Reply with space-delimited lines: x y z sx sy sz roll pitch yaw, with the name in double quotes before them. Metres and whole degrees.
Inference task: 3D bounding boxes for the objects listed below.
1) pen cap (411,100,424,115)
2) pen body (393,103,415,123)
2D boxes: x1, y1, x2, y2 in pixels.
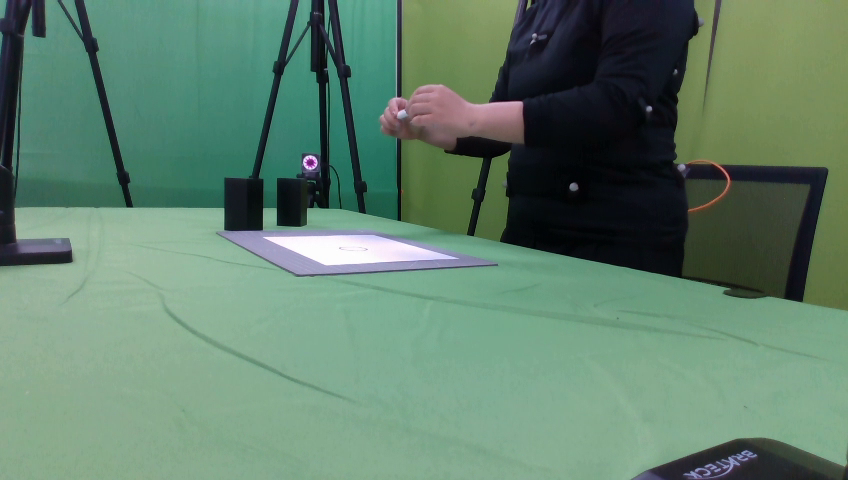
"pen cap" -0.011 -0.237 1.080 0.017 0.017 0.038 0 -10 -18
"pen body" -0.030 -0.240 1.138 0.017 0.017 0.143 0 -1 -20
